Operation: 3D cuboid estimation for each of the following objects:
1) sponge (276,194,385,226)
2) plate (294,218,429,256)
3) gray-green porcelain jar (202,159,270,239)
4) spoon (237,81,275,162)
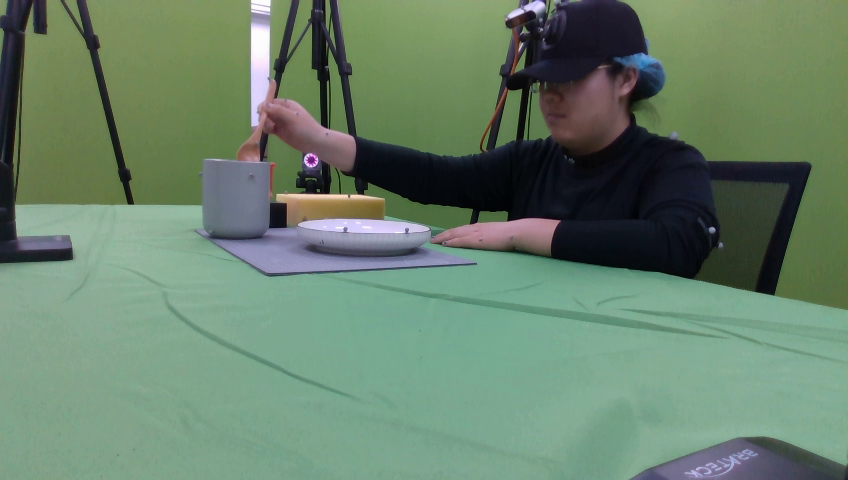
[{"bbox_3d":[-0.202,-0.067,1.312,0.208,0.061,0.117,-3,9,-35],"label":"sponge"},{"bbox_3d":[-0.096,-0.005,0.936,0.208,0.039,0.207,3,7,0],"label":"plate"},{"bbox_3d":[-0.310,-0.068,0.999,0.106,0.126,0.106,3,8,0],"label":"gray-green porcelain jar"},{"bbox_3d":[-0.283,-0.198,1.044,0.042,0.193,0.021,26,-27,-32],"label":"spoon"}]
